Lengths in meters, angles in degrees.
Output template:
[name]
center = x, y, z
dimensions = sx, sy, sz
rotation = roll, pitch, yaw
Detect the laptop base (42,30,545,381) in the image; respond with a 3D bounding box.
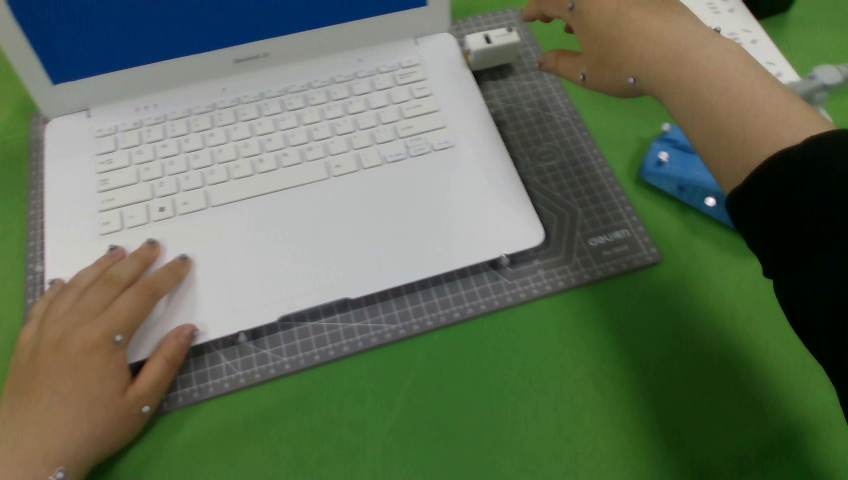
[laptop base]
center = -0.110, -0.046, 0.477
dimensions = 0.355, 0.023, 0.233
rotation = -16, 64, -9

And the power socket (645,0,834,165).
[power socket]
center = 0.269, -0.161, 0.532
dimensions = 0.072, 0.033, 0.224
rotation = -13, 60, -6

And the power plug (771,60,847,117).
[power plug]
center = 0.315, -0.115, 0.482
dimensions = 0.072, 0.053, 0.035
rotation = -4, 62, -2

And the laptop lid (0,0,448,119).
[laptop lid]
center = -0.155, -0.223, 0.445
dimensions = 0.357, 0.244, 0.013
rotation = -17, 48, -8

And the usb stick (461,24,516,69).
[usb stick]
center = 0.049, -0.168, 0.533
dimensions = 0.059, 0.027, 0.021
rotation = -16, 60, -4

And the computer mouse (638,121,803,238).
[computer mouse]
center = 0.229, -0.053, 0.468
dimensions = 0.116, 0.041, 0.062
rotation = 32, 67, 22
